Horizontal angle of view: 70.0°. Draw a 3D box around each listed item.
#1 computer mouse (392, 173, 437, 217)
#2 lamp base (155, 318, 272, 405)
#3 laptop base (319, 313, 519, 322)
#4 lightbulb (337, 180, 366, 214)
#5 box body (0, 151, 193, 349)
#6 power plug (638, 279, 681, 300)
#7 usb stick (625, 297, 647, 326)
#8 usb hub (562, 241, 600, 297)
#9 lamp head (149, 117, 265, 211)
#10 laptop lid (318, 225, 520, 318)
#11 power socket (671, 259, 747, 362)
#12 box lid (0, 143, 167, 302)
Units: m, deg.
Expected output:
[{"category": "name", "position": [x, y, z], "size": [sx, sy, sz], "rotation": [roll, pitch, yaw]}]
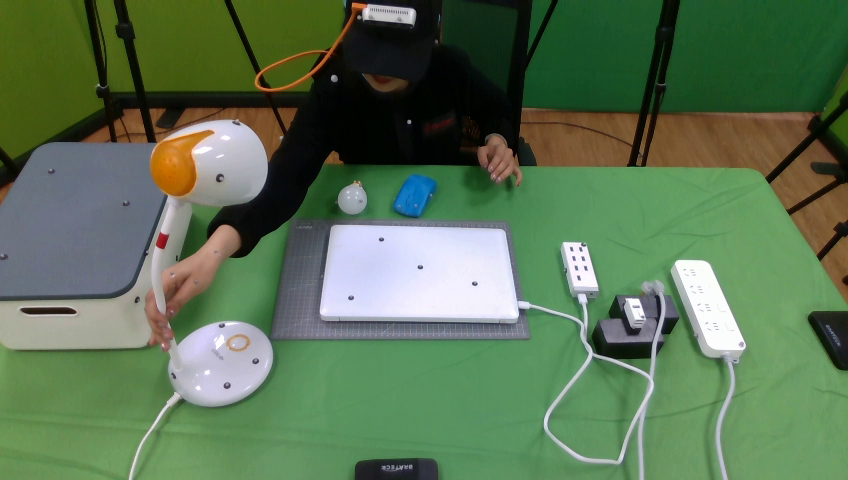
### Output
[{"category": "computer mouse", "position": [-0.018, -0.098, 1.282], "size": [0.062, 0.041, 0.117], "rotation": [20, 51, 12]}, {"category": "lamp base", "position": [-0.330, 0.148, 0.918], "size": [0.160, 0.181, 0.179], "rotation": [27, 51, 21]}, {"category": "laptop base", "position": [-0.009, 0.063, 1.137], "size": [0.354, 0.023, 0.234], "rotation": [1, 42, -3]}, {"category": "lightbulb", "position": [-0.147, -0.094, 1.260], "size": [0.059, 0.060, 0.107], "rotation": [4, 30, 1]}, {"category": "box body", "position": [-0.570, 0.006, 1.054], "size": [0.254, 0.161, 0.361], "rotation": [-1, 46, -4]}, {"category": "power plug", "position": [0.434, 0.099, 1.119], "size": [0.073, 0.053, 0.035], "rotation": [34, 38, -15]}, {"category": "usb stick", "position": [0.360, 0.117, 1.034], "size": [0.021, 0.027, 0.059], "rotation": [-2, 44, -2]}, {"category": "usb hub", "position": [0.300, 0.055, 1.161], "size": [0.049, 0.025, 0.124], "rotation": [2, 46, -3]}, {"category": "lamp head", "position": [-0.276, -0.091, 0.744], "size": [0.112, 0.112, 0.123], "rotation": [21, 22, 16]}, {"category": "laptop lid", "position": [-0.009, 0.053, 1.130], "size": [0.357, 0.013, 0.240], "rotation": [2, 44, -2]}, {"category": "power socket", "position": [0.517, 0.119, 1.108], "size": [0.072, 0.033, 0.225], "rotation": [1, 46, -2]}, {"category": "box lid", "position": [-0.567, -0.045, 0.999], "size": [0.263, 0.015, 0.369], "rotation": [-1, 45, -4]}]
